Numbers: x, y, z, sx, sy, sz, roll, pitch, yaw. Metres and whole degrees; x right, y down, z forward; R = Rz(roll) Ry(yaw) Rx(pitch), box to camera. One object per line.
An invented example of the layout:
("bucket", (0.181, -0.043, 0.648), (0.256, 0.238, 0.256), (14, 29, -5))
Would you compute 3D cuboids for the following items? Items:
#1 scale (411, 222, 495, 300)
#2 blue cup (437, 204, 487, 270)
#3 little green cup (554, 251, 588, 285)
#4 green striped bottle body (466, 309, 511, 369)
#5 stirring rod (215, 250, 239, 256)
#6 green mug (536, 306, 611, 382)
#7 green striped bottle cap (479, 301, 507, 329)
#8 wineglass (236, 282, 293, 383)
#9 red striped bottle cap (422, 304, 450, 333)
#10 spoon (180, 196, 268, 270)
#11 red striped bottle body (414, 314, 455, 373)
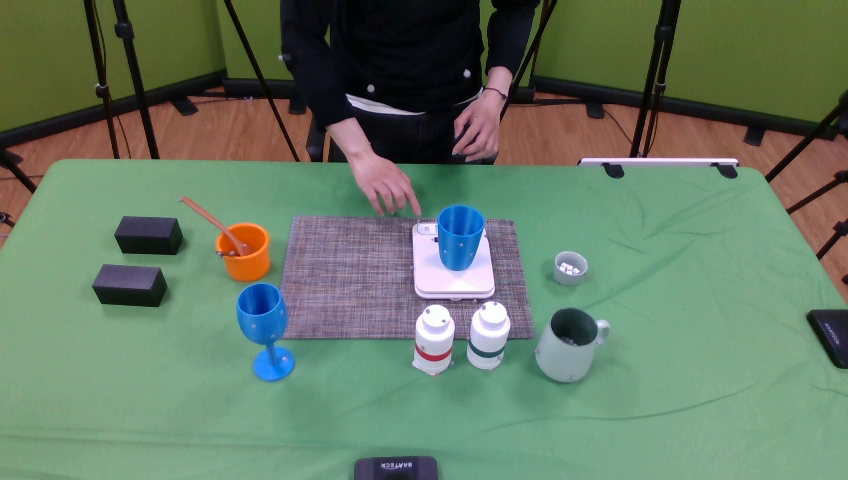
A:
("scale", (0.052, 0.031, 1.158), (0.149, 0.032, 0.199), (1, 46, -4))
("blue cup", (0.062, 0.000, 1.098), (0.093, 0.101, 0.092), (2, 44, -2))
("little green cup", (0.277, 0.055, 1.151), (0.061, 0.039, 0.061), (1, 46, -1))
("green striped bottle body", (0.105, 0.154, 0.987), (0.063, 0.120, 0.063), (2, 46, -2))
("stirring rod", (-0.339, 0.024, 1.059), (0.014, 0.176, 0.006), (16, 86, -6))
("green mug", (0.250, 0.167, 0.996), (0.125, 0.105, 0.092), (-15, 49, -19))
("green striped bottle cap", (0.109, 0.118, 0.950), (0.044, 0.020, 0.044), (2, 47, -2))
("wineglass", (-0.243, 0.143, 0.934), (0.074, 0.173, 0.073), (2, 46, -2))
("red striped bottle cap", (0.018, 0.121, 0.939), (0.044, 0.018, 0.044), (0, 48, 0))
("spoon", (-0.360, -0.014, 1.094), (0.021, 0.194, 0.041), (-27, 26, 31))
("red striped bottle body", (0.016, 0.158, 0.977), (0.063, 0.120, 0.062), (2, 46, -2))
